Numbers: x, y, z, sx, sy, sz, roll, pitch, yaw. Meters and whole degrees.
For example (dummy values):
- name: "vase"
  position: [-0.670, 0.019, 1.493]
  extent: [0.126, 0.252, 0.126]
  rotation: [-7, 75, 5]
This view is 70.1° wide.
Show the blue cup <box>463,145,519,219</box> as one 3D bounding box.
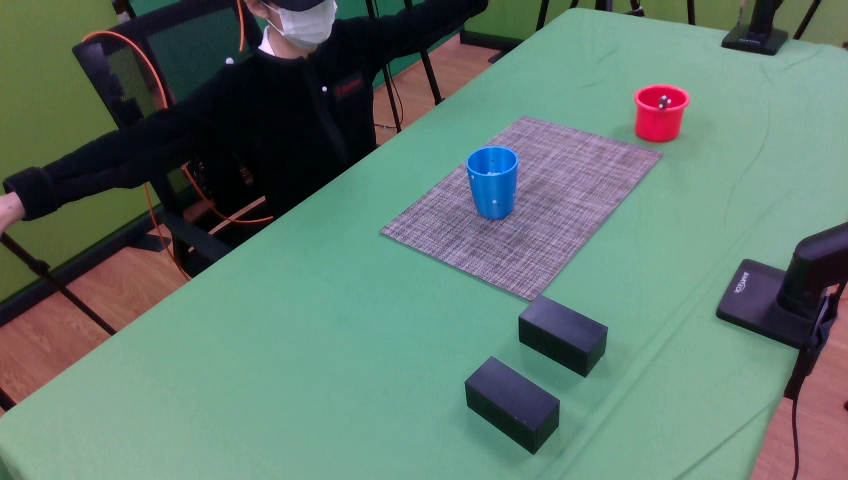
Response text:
- name: "blue cup"
  position: [0.115, -0.090, 0.996]
  extent: [0.092, 0.101, 0.092]
  rotation: [-5, 41, 5]

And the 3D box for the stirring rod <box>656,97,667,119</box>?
- name: "stirring rod"
  position: [0.432, -0.239, 1.102]
  extent: [0.014, 0.006, 0.177]
  rotation: [4, 2, 19]
